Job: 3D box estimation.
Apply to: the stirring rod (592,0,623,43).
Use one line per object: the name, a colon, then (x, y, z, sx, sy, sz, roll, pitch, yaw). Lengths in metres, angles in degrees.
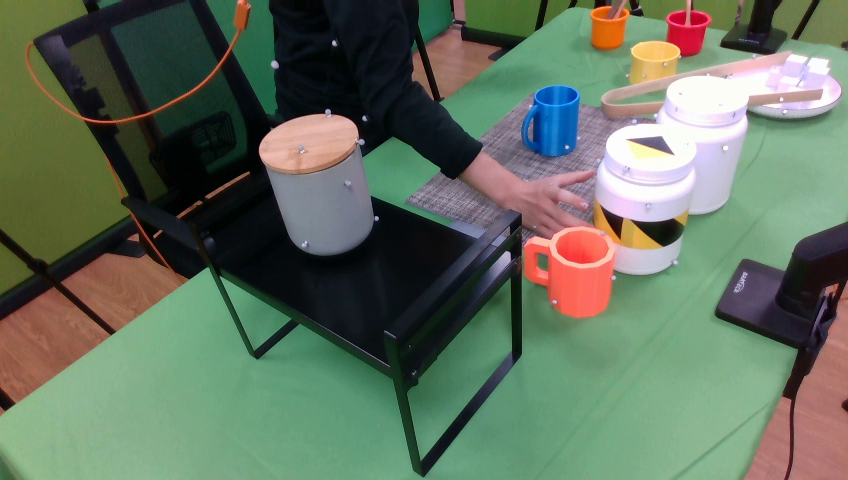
stirring rod: (0.460, -0.557, 1.461, 0.014, 0.176, 0.006, 35, 11, 22)

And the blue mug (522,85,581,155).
blue mug: (0.233, -0.218, 1.127, 0.117, 0.106, 0.081, -23, 43, -16)

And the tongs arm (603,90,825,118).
tongs arm: (0.546, -0.262, 1.163, 0.386, 0.028, 0.028, -1, 49, 18)

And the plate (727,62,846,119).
plate: (0.709, -0.292, 1.198, 0.207, 0.039, 0.206, -4, 40, 4)

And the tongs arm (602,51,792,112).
tongs arm: (0.552, -0.320, 1.224, 0.384, 0.027, 0.050, -10, 44, 7)

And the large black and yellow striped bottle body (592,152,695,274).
large black and yellow striped bottle body: (0.313, -0.056, 0.872, 0.131, 0.185, 0.130, -4, 41, 4)

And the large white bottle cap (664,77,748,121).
large white bottle cap: (0.421, -0.212, 0.905, 0.115, 0.018, 0.114, -4, 40, 4)

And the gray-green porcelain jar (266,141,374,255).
gray-green porcelain jar: (-0.117, -0.054, 0.703, 0.106, 0.127, 0.105, -4, 40, 4)

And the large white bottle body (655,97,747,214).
large white bottle body: (0.430, -0.148, 0.959, 0.130, 0.185, 0.130, -4, 41, 4)

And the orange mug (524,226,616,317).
orange mug: (0.201, 0.039, 0.845, 0.125, 0.101, 0.083, 18, 46, 21)

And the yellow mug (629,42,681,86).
yellow mug: (0.495, -0.389, 1.321, 0.100, 0.064, 0.130, -14, 40, -6)

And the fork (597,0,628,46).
fork: (0.479, -0.558, 1.455, 0.028, 0.019, 0.207, 35, 100, 38)

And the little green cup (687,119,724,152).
little green cup: (0.513, -0.191, 1.109, 0.061, 0.039, 0.061, -5, 40, 5)

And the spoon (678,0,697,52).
spoon: (0.614, -0.526, 1.402, 0.041, 0.022, 0.193, 3, 86, 11)

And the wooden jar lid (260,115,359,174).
wooden jar lid: (-0.124, -0.101, 0.662, 0.108, 0.021, 0.108, -4, 41, 4)

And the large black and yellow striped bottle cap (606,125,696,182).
large black and yellow striped bottle cap: (0.305, -0.119, 0.816, 0.115, 0.019, 0.114, -5, 41, 5)
